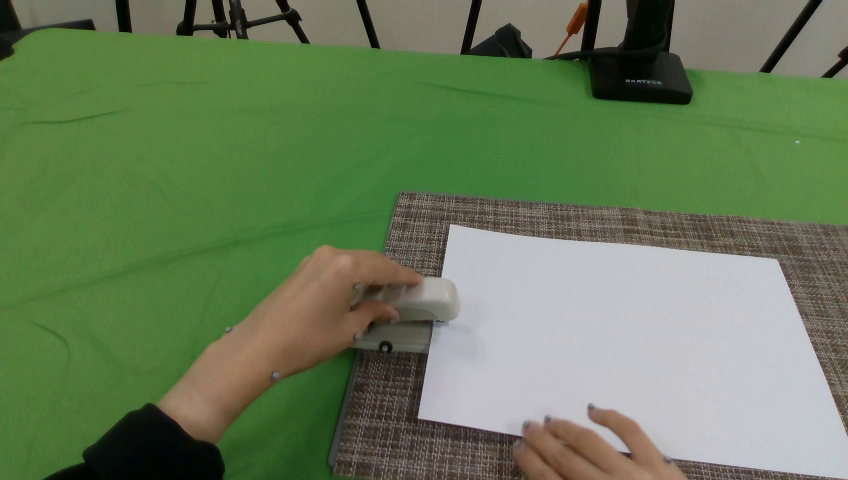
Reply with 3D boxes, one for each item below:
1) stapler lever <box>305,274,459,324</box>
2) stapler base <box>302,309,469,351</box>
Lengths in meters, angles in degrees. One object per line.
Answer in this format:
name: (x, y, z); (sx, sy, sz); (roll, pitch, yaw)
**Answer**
stapler lever: (-0.032, 0.044, 0.461); (0.118, 0.040, 0.026); (3, 41, 4)
stapler base: (-0.030, 0.061, 0.478); (0.130, 0.024, 0.041); (3, 41, 5)
